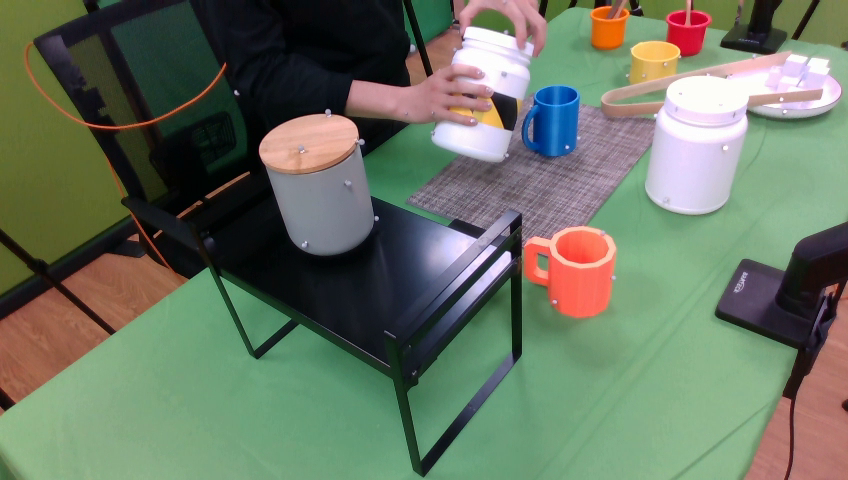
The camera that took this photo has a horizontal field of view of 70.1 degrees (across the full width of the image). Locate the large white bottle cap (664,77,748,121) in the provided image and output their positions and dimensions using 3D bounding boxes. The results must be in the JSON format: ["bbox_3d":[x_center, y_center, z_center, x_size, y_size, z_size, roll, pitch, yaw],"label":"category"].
[{"bbox_3d":[0.421,-0.212,0.905,0.115,0.018,0.114,-4,40,4],"label":"large white bottle cap"}]

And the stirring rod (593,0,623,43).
[{"bbox_3d":[0.460,-0.557,1.461,0.014,0.176,0.006,35,11,22],"label":"stirring rod"}]

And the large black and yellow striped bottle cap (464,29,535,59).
[{"bbox_3d":[0.120,-0.313,0.965,0.115,0.019,0.115,15,14,-3],"label":"large black and yellow striped bottle cap"}]

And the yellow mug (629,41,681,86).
[{"bbox_3d":[0.495,-0.389,1.321,0.100,0.064,0.130,-14,40,-7],"label":"yellow mug"}]

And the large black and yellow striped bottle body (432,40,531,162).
[{"bbox_3d":[0.097,-0.232,0.989,0.131,0.184,0.130,15,15,-4],"label":"large black and yellow striped bottle body"}]

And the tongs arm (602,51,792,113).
[{"bbox_3d":[0.552,-0.319,1.224,0.384,0.027,0.050,-11,44,7],"label":"tongs arm"}]

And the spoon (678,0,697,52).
[{"bbox_3d":[0.614,-0.526,1.402,0.041,0.022,0.193,3,86,11],"label":"spoon"}]

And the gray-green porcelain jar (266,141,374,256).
[{"bbox_3d":[-0.117,-0.054,0.703,0.106,0.127,0.105,-4,40,4],"label":"gray-green porcelain jar"}]

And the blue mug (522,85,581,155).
[{"bbox_3d":[0.233,-0.218,1.127,0.117,0.106,0.081,-23,43,-16],"label":"blue mug"}]

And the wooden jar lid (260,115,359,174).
[{"bbox_3d":[-0.124,-0.101,0.662,0.108,0.021,0.108,-4,41,4],"label":"wooden jar lid"}]

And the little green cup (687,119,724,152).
[{"bbox_3d":[0.514,-0.191,1.109,0.061,0.039,0.061,-5,40,5],"label":"little green cup"}]

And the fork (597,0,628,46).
[{"bbox_3d":[0.479,-0.558,1.455,0.028,0.019,0.207,35,100,38],"label":"fork"}]

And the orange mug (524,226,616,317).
[{"bbox_3d":[0.201,0.039,0.845,0.125,0.101,0.083,18,47,21],"label":"orange mug"}]

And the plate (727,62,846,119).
[{"bbox_3d":[0.709,-0.292,1.197,0.207,0.039,0.206,-4,40,4],"label":"plate"}]

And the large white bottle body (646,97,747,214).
[{"bbox_3d":[0.431,-0.148,0.959,0.130,0.185,0.130,-4,41,4],"label":"large white bottle body"}]

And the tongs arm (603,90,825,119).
[{"bbox_3d":[0.546,-0.262,1.163,0.386,0.028,0.028,-1,49,18],"label":"tongs arm"}]
